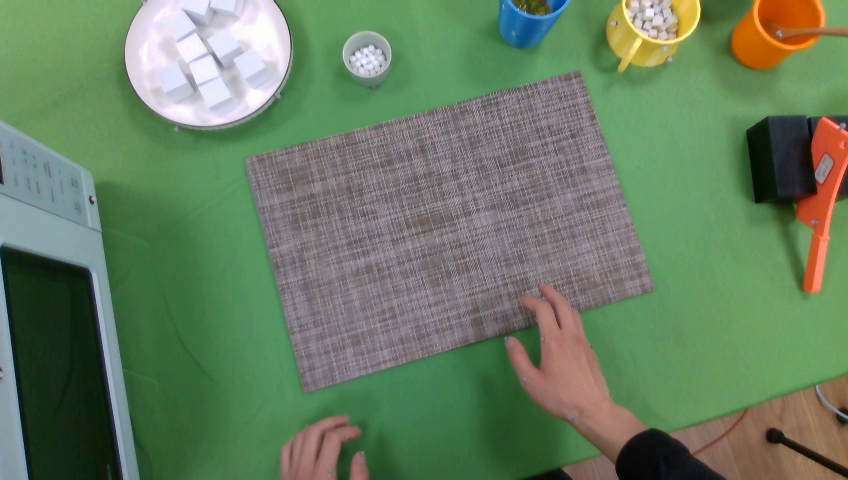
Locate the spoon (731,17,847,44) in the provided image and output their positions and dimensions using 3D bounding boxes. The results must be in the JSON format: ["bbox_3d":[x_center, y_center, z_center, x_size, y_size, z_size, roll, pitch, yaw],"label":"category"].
[{"bbox_3d":[0.477,-0.258,0.743,0.022,0.192,0.041,38,79,-40],"label":"spoon"}]

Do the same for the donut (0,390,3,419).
[{"bbox_3d":[-0.490,0.174,0.625,0.099,0.048,0.099,0,90,-6],"label":"donut"}]

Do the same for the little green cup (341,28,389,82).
[{"bbox_3d":[-0.074,-0.234,0.777,0.061,0.039,0.061,0,81,-1],"label":"little green cup"}]

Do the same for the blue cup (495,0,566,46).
[{"bbox_3d":[0.128,-0.295,0.761,0.093,0.100,0.092,0,82,-3],"label":"blue cup"}]

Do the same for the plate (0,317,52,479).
[{"bbox_3d":[-0.494,0.175,0.635,0.209,0.038,0.208,0,81,-2],"label":"plate"}]

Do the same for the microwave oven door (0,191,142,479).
[{"bbox_3d":[-0.361,0.138,0.588,0.039,0.244,0.354,-13,81,-3],"label":"microwave oven door"}]

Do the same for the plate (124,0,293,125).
[{"bbox_3d":[-0.269,-0.241,0.771,0.208,0.039,0.207,0,81,-2],"label":"plate"}]

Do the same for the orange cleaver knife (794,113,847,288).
[{"bbox_3d":[0.479,-0.046,0.744,0.012,0.076,0.212,-1,110,0],"label":"orange cleaver knife"}]

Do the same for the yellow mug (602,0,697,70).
[{"bbox_3d":[0.282,-0.276,0.781,0.100,0.064,0.130,32,82,3],"label":"yellow mug"}]

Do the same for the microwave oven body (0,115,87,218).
[{"bbox_3d":[-0.513,0.129,0.589,0.326,0.261,0.440,-13,82,-4],"label":"microwave oven body"}]

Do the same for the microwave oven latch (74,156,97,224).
[{"bbox_3d":[-0.412,-0.057,0.719,0.030,0.029,0.079,-11,82,-4],"label":"microwave oven latch"}]
